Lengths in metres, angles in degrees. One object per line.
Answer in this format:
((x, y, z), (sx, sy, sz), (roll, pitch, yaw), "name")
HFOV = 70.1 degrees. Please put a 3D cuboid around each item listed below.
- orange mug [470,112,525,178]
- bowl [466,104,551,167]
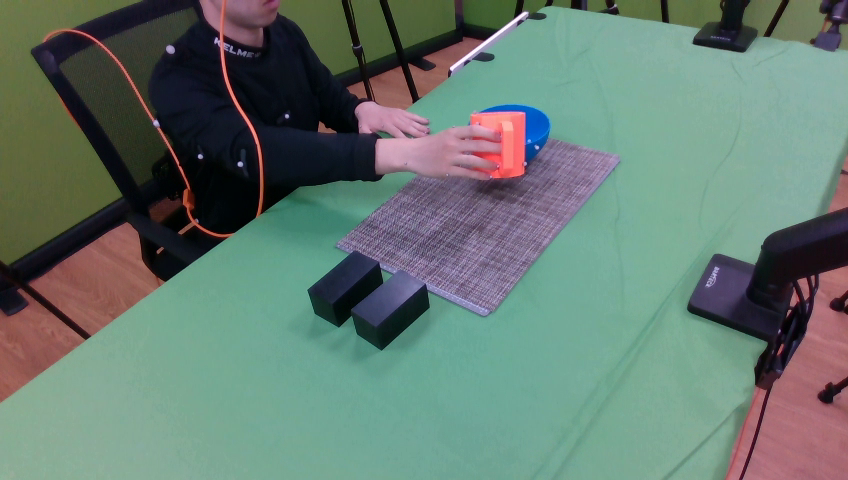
((0.118, -0.149, 0.942), (0.084, 0.101, 0.126), (-4, 10, -6), "orange mug")
((0.155, -0.177, 1.105), (0.151, 0.077, 0.150), (-4, 40, 3), "bowl")
